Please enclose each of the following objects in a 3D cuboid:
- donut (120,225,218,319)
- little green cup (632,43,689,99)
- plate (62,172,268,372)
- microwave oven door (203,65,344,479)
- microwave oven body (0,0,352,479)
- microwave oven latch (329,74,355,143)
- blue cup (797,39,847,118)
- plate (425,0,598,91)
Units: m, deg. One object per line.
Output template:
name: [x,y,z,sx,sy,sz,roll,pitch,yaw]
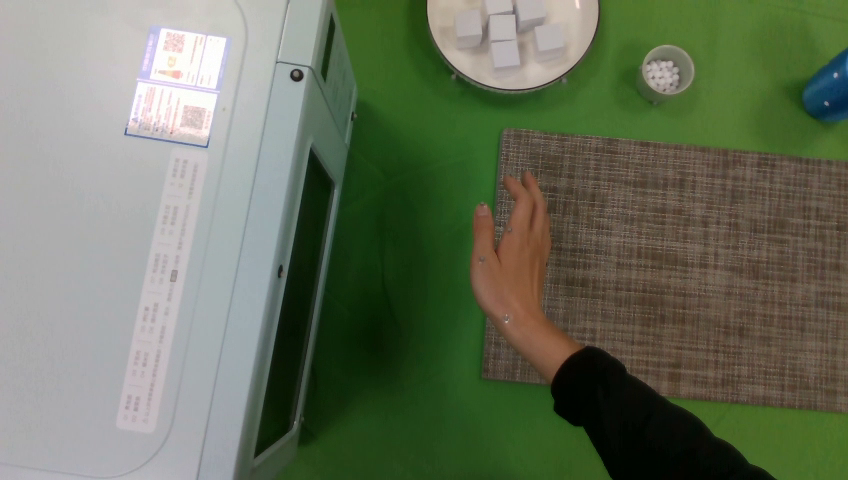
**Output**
donut: [-0.263,0.033,0.627,0.099,0.048,0.099,0,93,-1]
little green cup: [0.282,-0.201,0.732,0.061,0.039,0.061,0,83,0]
plate: [-0.267,0.033,0.637,0.209,0.038,0.208,0,83,-1]
microwave oven door: [-0.134,0.047,0.579,0.039,0.244,0.355,8,83,1]
microwave oven body: [-0.272,-0.015,0.589,0.326,0.260,0.440,8,84,0]
microwave oven latch: [-0.100,-0.155,0.704,0.030,0.029,0.079,10,84,0]
blue cup: [0.491,-0.185,0.701,0.093,0.100,0.092,0,85,-1]
plate: [0.104,-0.278,0.738,0.208,0.039,0.207,0,84,0]
